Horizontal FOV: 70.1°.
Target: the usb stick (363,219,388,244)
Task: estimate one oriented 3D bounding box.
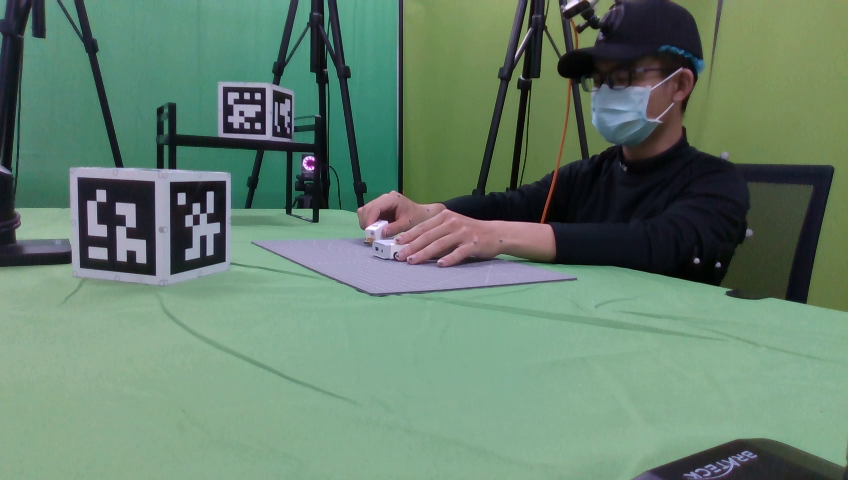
[{"bbox_3d":[-0.084,-0.013,1.016,0.021,0.027,0.059,7,29,27],"label":"usb stick"}]

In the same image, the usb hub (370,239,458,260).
[{"bbox_3d":[-0.014,0.014,0.907,0.126,0.025,0.049,0,10,-28],"label":"usb hub"}]
